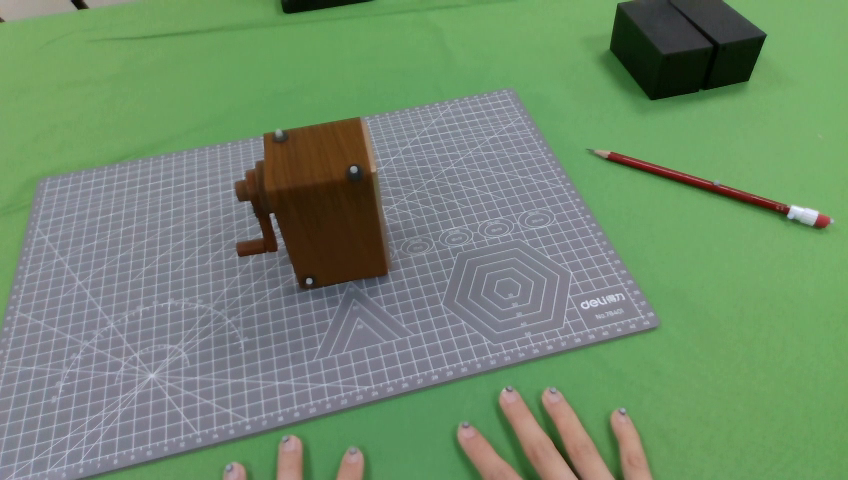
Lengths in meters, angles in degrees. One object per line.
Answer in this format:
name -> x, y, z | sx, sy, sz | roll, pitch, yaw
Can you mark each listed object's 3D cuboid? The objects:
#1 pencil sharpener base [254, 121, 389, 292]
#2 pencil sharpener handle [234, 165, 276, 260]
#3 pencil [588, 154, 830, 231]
pencil sharpener base -> -0.070, -0.020, 0.429 | 0.077, 0.108, 0.060 | -11, 48, -5
pencil sharpener handle -> -0.120, -0.016, 0.412 | 0.031, 0.068, 0.035 | -11, 32, -5
pencil -> 0.228, -0.043, 0.503 | 0.193, 0.012, 0.012 | 22, 53, 23
